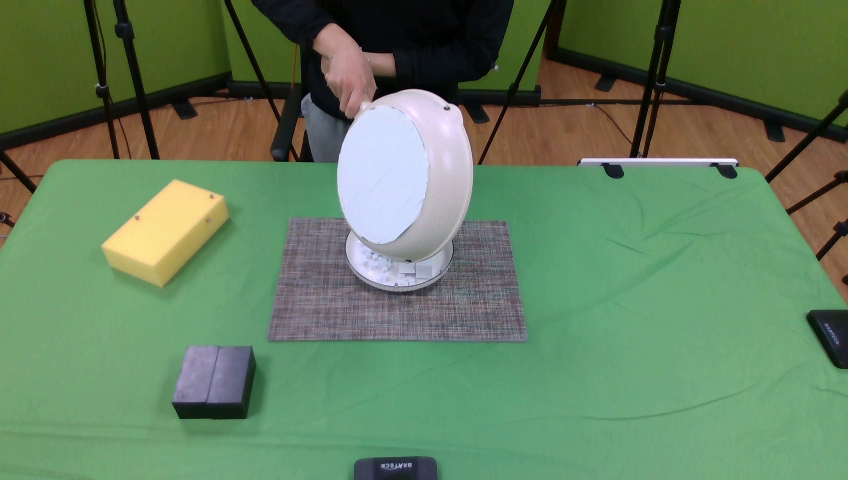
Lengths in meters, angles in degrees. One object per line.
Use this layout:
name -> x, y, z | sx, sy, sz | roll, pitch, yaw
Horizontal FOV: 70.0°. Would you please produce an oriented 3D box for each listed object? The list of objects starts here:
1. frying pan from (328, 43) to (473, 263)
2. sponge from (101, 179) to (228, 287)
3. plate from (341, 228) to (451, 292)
frying pan -> -0.088, -0.185, 1.058 | 0.103, 0.307, 0.484 | 7, 45, -41
sponge -> -0.486, -0.018, 1.151 | 0.118, 0.061, 0.206 | 19, 47, 12
plate -> -0.053, 0.022, 1.156 | 0.208, 0.039, 0.206 | 2, 46, -2
